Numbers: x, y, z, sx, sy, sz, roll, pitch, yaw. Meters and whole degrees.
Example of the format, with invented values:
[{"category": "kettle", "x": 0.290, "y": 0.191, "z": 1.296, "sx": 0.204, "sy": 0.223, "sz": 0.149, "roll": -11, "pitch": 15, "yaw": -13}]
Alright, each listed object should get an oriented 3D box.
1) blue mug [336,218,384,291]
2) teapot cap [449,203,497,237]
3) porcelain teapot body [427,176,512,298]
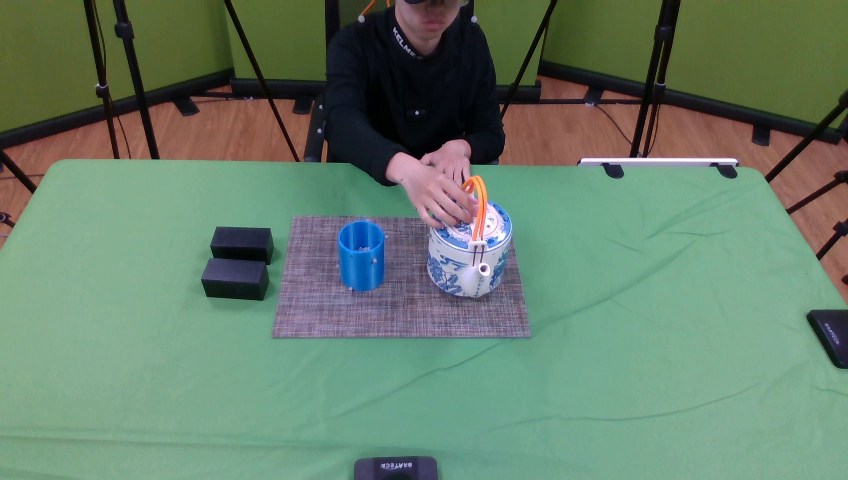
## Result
[{"category": "blue mug", "x": -0.115, "y": 0.018, "z": 1.111, "sx": 0.082, "sy": 0.106, "sz": 0.116, "roll": 1, "pitch": 46, "yaw": -3}, {"category": "teapot cap", "x": 0.084, "y": -0.038, "z": 1.040, "sx": 0.085, "sy": 0.044, "sz": 0.084, "roll": 0, "pitch": 48, "yaw": 0}, {"category": "porcelain teapot body", "x": 0.085, "y": 0.010, "z": 1.051, "sx": 0.145, "sy": 0.226, "sz": 0.204, "roll": -5, "pitch": 47, "yaw": -8}]
